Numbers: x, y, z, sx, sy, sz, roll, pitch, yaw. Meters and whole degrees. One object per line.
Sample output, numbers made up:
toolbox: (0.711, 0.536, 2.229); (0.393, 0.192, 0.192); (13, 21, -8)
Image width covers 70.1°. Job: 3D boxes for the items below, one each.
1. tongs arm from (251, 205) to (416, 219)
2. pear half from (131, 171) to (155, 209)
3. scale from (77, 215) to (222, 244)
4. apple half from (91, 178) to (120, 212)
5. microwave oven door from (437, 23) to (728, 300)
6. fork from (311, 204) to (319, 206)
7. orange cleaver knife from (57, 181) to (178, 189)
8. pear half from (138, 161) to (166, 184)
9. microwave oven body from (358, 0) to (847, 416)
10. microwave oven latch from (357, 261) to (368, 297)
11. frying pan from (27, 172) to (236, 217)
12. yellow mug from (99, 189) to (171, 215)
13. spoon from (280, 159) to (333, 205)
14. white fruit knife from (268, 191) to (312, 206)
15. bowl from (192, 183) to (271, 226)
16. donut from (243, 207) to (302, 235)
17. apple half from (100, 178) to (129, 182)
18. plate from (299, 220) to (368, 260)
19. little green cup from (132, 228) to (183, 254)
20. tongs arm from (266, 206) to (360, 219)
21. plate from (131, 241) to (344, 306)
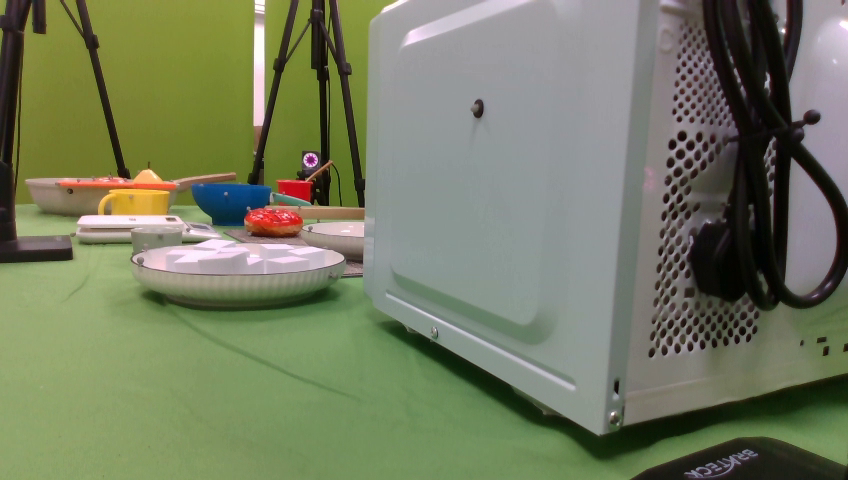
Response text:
tongs arm: (-0.211, -0.067, 1.440); (0.389, 0.027, 0.028); (0, -1, -17)
pear half: (-0.637, -0.113, 1.360); (0.031, 0.088, 0.070); (5, 11, 4)
scale: (-0.434, -0.019, 0.963); (0.202, 0.031, 0.148); (-1, 9, -27)
apple half: (-0.677, -0.096, 1.271); (0.033, 0.081, 0.081); (7, 8, 10)
microwave oven door: (0.180, -0.072, 0.621); (0.358, 0.243, 0.039); (-2, 8, -29)
fork: (-0.356, -0.105, 1.526); (0.208, 0.018, 0.028); (16, -5, -41)
orange cleaver knife: (-0.600, -0.109, 1.188); (0.212, 0.012, 0.077); (-1, 11, -26)
pear half: (-0.602, -0.120, 1.354); (0.056, 0.110, 0.076); (4, 11, 6)
microwave oven body: (0.211, -0.047, 0.475); (0.444, 0.260, 0.324); (-1, 7, -28)
microwave oven latch: (-0.019, 0.033, 0.531); (0.079, 0.029, 0.030); (-1, 7, -27)
frying pan: (-0.624, -0.118, 1.387); (0.305, 0.102, 0.490); (8, 17, 32)
yellow mug: (-0.519, -0.055, 1.080); (0.099, 0.064, 0.131); (7, 10, 26)
spoon: (-0.316, -0.159, 1.640); (0.194, 0.022, 0.041); (-50, 32, -20)
white fruit knife: (-0.364, -0.105, 1.464); (0.208, 0.027, 0.016); (15, 0, -34)
bowl: (-0.382, -0.071, 1.202); (0.151, 0.077, 0.151); (3, 7, 0)
donut: (-0.261, -0.032, 1.043); (0.099, 0.048, 0.099); (4, 9, 0)
apple half: (-0.638, -0.092, 1.265); (0.053, 0.074, 0.081); (7, 5, 10)
plate: (-0.078, -0.001, 0.890); (0.209, 0.038, 0.209); (3, 8, 0)
little green cup: (-0.342, 0.006, 0.779); (0.061, 0.038, 0.061); (2, 8, 0)
tongs arm: (-0.174, -0.061, 1.363); (0.387, 0.026, 0.050); (-1, 3, -31)
plate: (-0.187, 0.033, 0.625); (0.208, 0.039, 0.207); (2, 8, 0)
